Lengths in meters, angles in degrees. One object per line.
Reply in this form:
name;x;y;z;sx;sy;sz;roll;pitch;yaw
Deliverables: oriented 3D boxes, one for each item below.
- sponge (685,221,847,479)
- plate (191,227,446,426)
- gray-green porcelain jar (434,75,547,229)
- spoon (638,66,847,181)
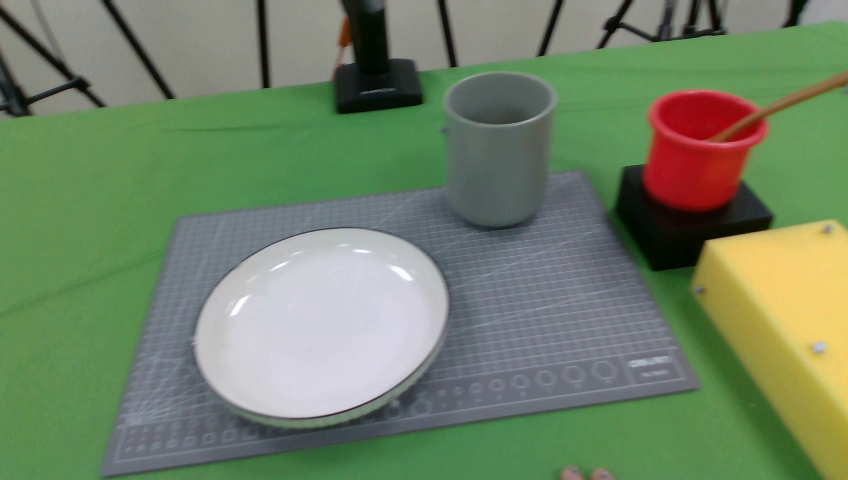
sponge;0.309;0.078;0.455;0.118;0.061;0.204;-10;41;-7
plate;-0.084;0.069;0.511;0.207;0.039;0.205;-2;41;2
gray-green porcelain jar;0.065;-0.083;0.603;0.106;0.128;0.105;-2;42;3
spoon;0.274;-0.099;0.519;0.193;0.022;0.041;-32;24;40
